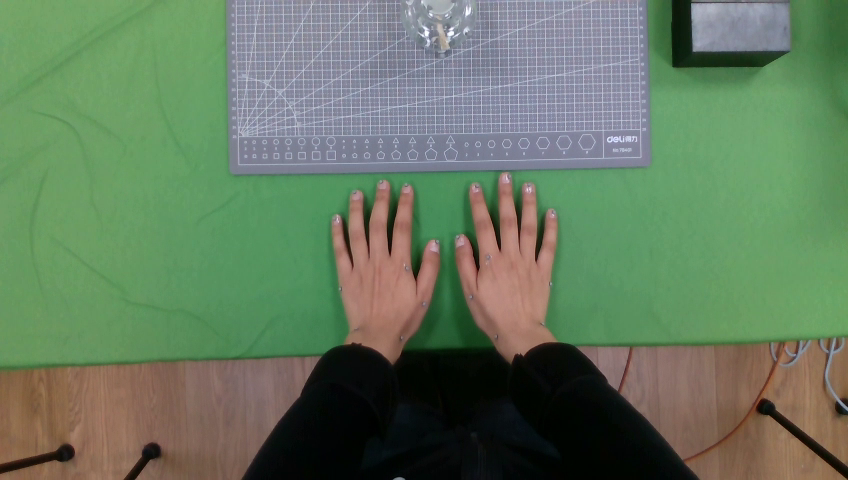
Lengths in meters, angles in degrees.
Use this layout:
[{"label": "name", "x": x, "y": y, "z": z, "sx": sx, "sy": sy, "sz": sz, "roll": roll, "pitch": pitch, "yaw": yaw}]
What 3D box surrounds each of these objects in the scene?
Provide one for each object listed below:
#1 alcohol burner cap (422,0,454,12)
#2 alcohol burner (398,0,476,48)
[{"label": "alcohol burner cap", "x": 0.014, "y": -0.234, "z": 0.559, "sx": 0.034, "sy": 0.048, "sz": 0.034, "roll": 0, "pitch": 93, "yaw": -3}, {"label": "alcohol burner", "x": 0.014, "y": -0.234, "z": 0.594, "sx": 0.078, "sy": 0.119, "sz": 0.078, "roll": 0, "pitch": 89, "yaw": -2}]
